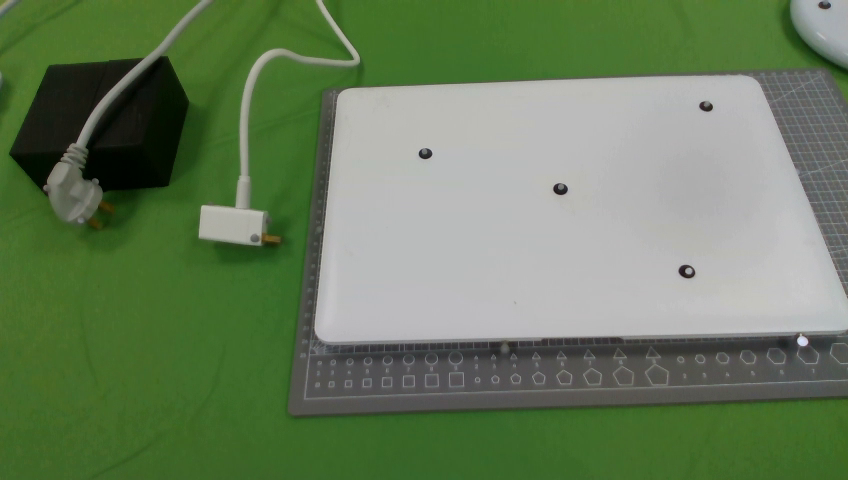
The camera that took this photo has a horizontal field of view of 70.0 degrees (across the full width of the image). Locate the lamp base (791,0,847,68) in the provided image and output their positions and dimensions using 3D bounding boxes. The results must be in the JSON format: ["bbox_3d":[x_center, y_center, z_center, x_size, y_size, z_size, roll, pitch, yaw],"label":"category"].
[{"bbox_3d":[0.426,-0.256,0.500,0.159,0.182,0.178,28,59,20],"label":"lamp base"}]

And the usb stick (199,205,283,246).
[{"bbox_3d":[-0.133,-0.010,0.449,0.059,0.021,0.027,10,94,-5],"label":"usb stick"}]

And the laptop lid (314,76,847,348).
[{"bbox_3d":[0.102,-0.034,0.450,0.357,0.013,0.239,0,59,2],"label":"laptop lid"}]

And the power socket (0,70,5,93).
[{"bbox_3d":[-0.423,-0.078,0.507,0.072,0.033,0.224,-4,56,-1],"label":"power socket"}]

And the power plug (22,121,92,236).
[{"bbox_3d":[-0.274,-0.041,0.436,0.035,0.073,0.052,-3,38,40],"label":"power plug"}]

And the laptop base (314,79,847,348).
[{"bbox_3d":[0.102,-0.029,0.461,0.354,0.023,0.233,-1,60,1],"label":"laptop base"}]
